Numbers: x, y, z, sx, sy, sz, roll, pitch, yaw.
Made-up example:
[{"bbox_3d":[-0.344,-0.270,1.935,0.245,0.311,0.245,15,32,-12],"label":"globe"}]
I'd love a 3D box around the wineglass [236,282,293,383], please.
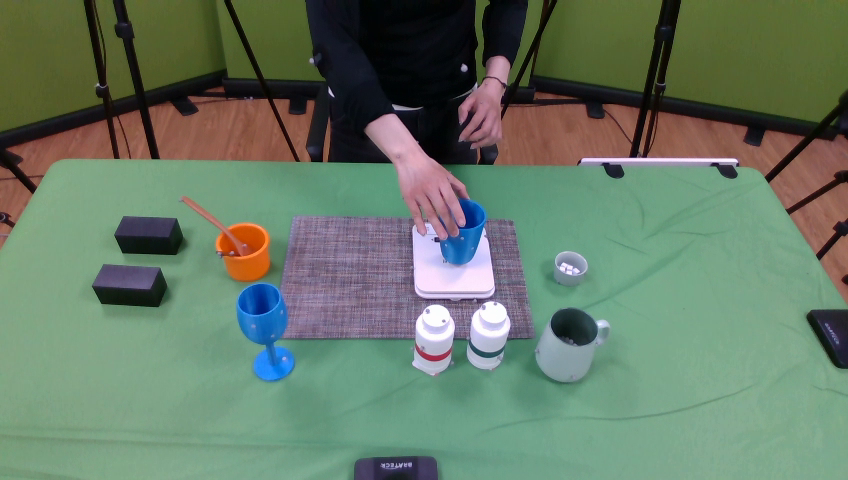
[{"bbox_3d":[-0.243,0.143,0.934,0.074,0.173,0.073,2,46,-2],"label":"wineglass"}]

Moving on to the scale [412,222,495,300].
[{"bbox_3d":[0.053,0.031,1.158,0.149,0.032,0.199,1,46,-4],"label":"scale"}]

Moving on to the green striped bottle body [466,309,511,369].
[{"bbox_3d":[0.105,0.154,0.987,0.063,0.120,0.063,2,46,-2],"label":"green striped bottle body"}]

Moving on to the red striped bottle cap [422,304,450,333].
[{"bbox_3d":[0.018,0.121,0.939,0.044,0.018,0.044,0,48,0],"label":"red striped bottle cap"}]

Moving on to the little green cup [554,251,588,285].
[{"bbox_3d":[0.276,0.055,1.151,0.061,0.039,0.061,1,46,-1],"label":"little green cup"}]

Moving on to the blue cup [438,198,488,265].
[{"bbox_3d":[0.064,-0.010,1.086,0.093,0.101,0.092,2,44,-2],"label":"blue cup"}]

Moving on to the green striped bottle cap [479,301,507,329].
[{"bbox_3d":[0.109,0.118,0.950,0.044,0.020,0.044,2,46,-2],"label":"green striped bottle cap"}]

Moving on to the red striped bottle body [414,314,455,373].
[{"bbox_3d":[0.016,0.158,0.977,0.063,0.120,0.062,1,46,-1],"label":"red striped bottle body"}]

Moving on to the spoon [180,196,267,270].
[{"bbox_3d":[-0.360,-0.014,1.094,0.021,0.194,0.041,-27,26,31],"label":"spoon"}]

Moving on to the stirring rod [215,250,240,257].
[{"bbox_3d":[-0.339,0.024,1.059,0.014,0.176,0.006,15,86,-6],"label":"stirring rod"}]

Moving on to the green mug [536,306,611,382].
[{"bbox_3d":[0.250,0.167,0.996,0.125,0.105,0.092,-15,49,-19],"label":"green mug"}]
